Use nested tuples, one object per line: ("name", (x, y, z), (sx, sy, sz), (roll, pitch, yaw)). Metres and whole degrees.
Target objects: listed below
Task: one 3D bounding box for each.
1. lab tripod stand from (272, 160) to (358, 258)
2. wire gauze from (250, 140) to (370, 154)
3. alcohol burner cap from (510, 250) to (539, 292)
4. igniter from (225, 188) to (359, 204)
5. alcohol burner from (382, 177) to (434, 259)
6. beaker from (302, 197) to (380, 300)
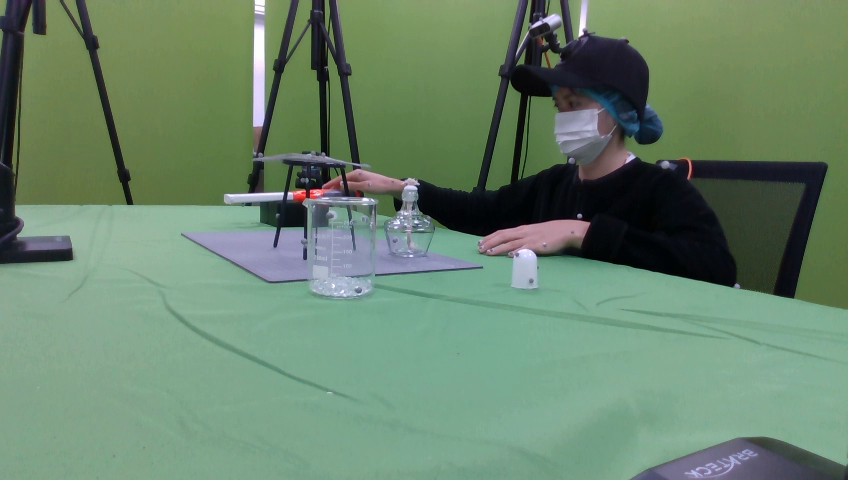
("lab tripod stand", (-0.159, -0.048, 0.876), (0.148, 0.131, 0.148), (3, 5, 0))
("wire gauze", (-0.163, -0.131, 0.867), (0.124, 0.011, 0.122), (-1, 8, 32))
("alcohol burner cap", (0.118, 0.036, 0.704), (0.034, 0.048, 0.034), (0, 6, 0))
("igniter", (-0.264, -0.089, 1.239), (0.278, 0.025, 0.057), (-5, 12, -32))
("alcohol burner", (-0.023, -0.033, 0.891), (0.078, 0.119, 0.078), (1, 6, 0))
("beaker", (-0.089, 0.007, 0.625), (0.084, 0.100, 0.074), (4, 7, 16))
